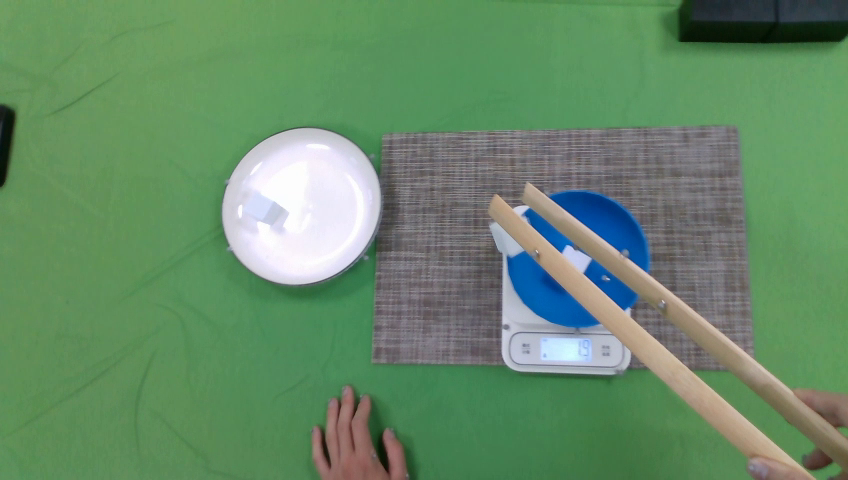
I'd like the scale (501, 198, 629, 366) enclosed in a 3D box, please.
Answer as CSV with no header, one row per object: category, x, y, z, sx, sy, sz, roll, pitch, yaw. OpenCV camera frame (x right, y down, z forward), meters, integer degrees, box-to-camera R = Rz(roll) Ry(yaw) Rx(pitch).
scale,0.167,0.048,0.725,0.148,0.032,0.200,0,80,6

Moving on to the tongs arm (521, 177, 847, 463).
tongs arm,0.208,0.070,0.495,0.051,0.027,0.381,-28,58,-35

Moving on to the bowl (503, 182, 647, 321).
bowl,0.162,0.018,0.677,0.151,0.077,0.150,-1,79,5

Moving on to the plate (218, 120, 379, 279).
plate,-0.158,-0.051,0.779,0.207,0.039,0.206,-1,79,6

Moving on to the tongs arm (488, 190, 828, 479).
tongs arm,0.185,0.080,0.480,0.028,0.028,0.384,-23,55,-36
